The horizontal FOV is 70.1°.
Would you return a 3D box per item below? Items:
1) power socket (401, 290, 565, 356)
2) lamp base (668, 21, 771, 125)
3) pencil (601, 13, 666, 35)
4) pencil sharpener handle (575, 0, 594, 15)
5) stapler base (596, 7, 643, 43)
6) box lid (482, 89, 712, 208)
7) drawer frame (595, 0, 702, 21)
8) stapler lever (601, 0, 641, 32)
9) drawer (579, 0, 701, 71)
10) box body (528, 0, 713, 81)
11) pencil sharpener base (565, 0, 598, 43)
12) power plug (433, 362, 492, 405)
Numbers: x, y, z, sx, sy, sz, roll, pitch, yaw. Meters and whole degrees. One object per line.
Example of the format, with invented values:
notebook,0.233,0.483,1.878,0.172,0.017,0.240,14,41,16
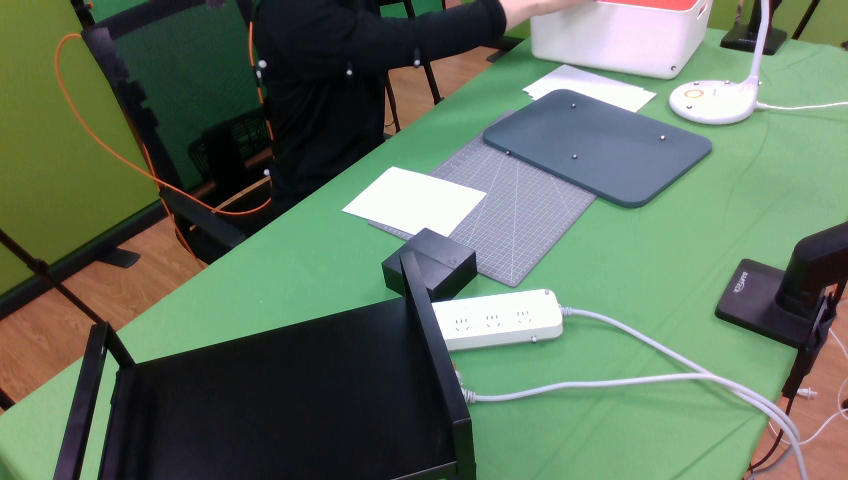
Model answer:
power socket,0.080,0.112,0.822,0.227,0.033,0.072,-7,41,0
lamp base,0.577,-0.333,1.155,0.179,0.181,0.160,6,42,12
pencil,0.482,-0.495,1.388,0.195,0.012,0.012,-22,43,-20
pencil sharpener handle,0.402,-0.594,1.511,0.036,0.067,0.030,37,49,-1
stapler base,0.452,-0.503,1.397,0.131,0.024,0.041,-39,61,-18
box lid,0.320,-0.190,1.156,0.264,0.015,0.368,-33,47,-28
drawer frame,0.486,-0.490,1.360,0.212,0.083,0.201,24,62,21
stapler lever,0.450,-0.517,1.378,0.118,0.040,0.026,-40,61,-17
drawer,0.483,-0.489,1.361,0.210,0.073,0.194,24,63,21
box body,0.450,-0.513,1.398,0.361,0.161,0.254,19,48,28
pencil sharpener base,0.388,-0.550,1.483,0.061,0.107,0.077,13,44,24
power plug,0.045,0.182,0.758,0.073,0.035,0.052,22,43,-18
